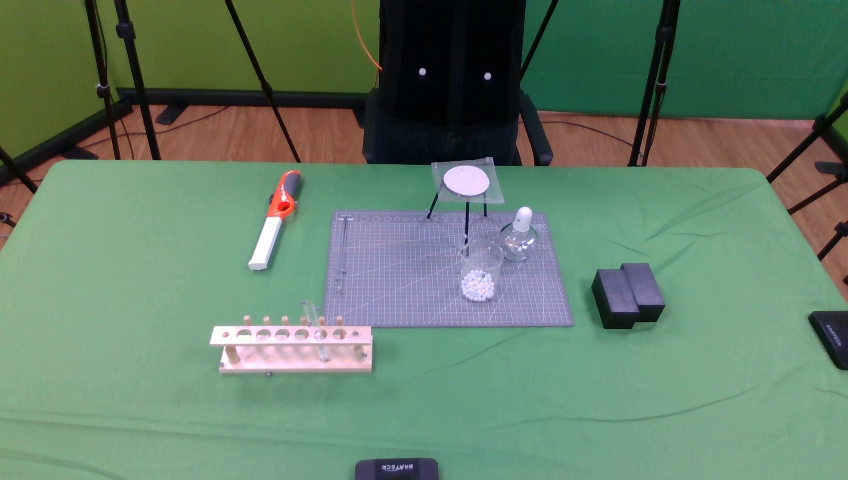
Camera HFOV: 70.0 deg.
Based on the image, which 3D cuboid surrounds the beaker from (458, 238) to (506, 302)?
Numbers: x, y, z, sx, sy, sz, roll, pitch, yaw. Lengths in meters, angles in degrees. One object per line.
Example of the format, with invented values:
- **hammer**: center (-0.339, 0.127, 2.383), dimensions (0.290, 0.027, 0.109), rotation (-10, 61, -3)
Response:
- **beaker**: center (0.099, 0.057, 1.093), dimensions (0.084, 0.101, 0.073), rotation (6, 46, 3)

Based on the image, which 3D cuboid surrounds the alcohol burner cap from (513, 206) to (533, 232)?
- **alcohol burner cap**: center (0.186, -0.042, 1.134), dimensions (0.034, 0.048, 0.033), rotation (6, 41, -5)

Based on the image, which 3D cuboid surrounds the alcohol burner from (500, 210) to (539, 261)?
- **alcohol burner**: center (0.185, -0.016, 1.160), dimensions (0.078, 0.119, 0.077), rotation (2, 48, -2)

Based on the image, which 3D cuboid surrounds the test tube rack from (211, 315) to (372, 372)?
- **test tube rack**: center (-0.208, 0.163, 0.982), dimensions (0.242, 0.085, 0.066), rotation (1, 46, -4)

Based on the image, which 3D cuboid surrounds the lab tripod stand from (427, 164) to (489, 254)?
- **lab tripod stand**: center (0.078, -0.068, 1.188), dimensions (0.148, 0.132, 0.147), rotation (3, 47, -3)

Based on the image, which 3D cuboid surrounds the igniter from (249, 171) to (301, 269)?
- **igniter**: center (-0.297, -0.049, 1.220), dimensions (0.057, 0.025, 0.275), rotation (-1, 45, 9)

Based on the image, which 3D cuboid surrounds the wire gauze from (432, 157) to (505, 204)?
- **wire gauze**: center (0.081, -0.112, 1.137), dimensions (0.125, 0.011, 0.120), rotation (-2, 48, -6)

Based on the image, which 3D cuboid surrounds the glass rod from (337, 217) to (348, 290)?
- **glass rod**: center (-0.158, 0.022, 1.172), dimensions (0.008, 0.008, 0.198), rotation (1, 43, -2)

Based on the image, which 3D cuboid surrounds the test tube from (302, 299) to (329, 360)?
- **test tube**: center (-0.167, 0.142, 0.937), dimensions (0.017, 0.151, 0.017), rotation (-2, 47, 2)
